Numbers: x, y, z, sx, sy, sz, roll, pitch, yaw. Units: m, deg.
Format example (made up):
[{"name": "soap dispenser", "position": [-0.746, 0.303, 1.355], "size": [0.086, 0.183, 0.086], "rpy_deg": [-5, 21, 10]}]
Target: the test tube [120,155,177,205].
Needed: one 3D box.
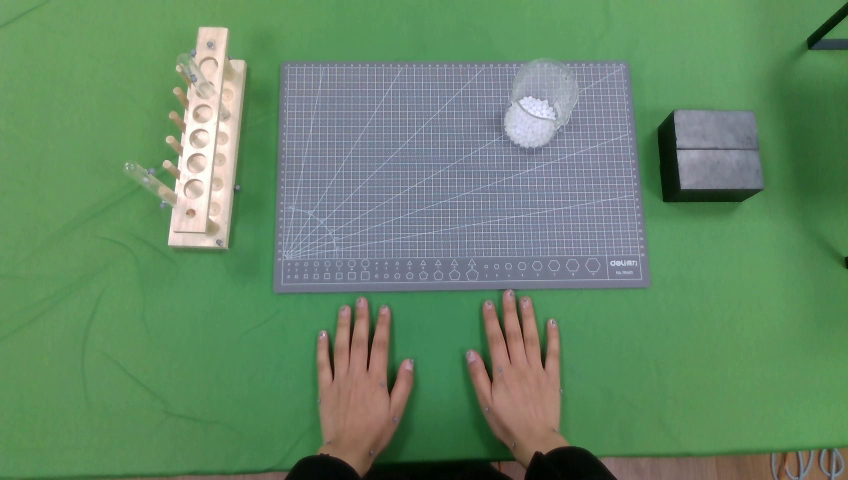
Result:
[{"name": "test tube", "position": [-0.285, -0.060, 0.647], "size": [0.017, 0.151, 0.017], "rpy_deg": [0, 78, -2]}]

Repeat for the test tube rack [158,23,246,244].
[{"name": "test tube rack", "position": [-0.263, -0.122, 0.708], "size": [0.067, 0.085, 0.241], "rpy_deg": [2, 77, -1]}]

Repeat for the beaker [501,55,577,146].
[{"name": "beaker", "position": [0.134, -0.158, 0.720], "size": [0.074, 0.100, 0.083], "rpy_deg": [-29, 80, -8]}]

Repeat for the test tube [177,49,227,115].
[{"name": "test tube", "position": [-0.242, -0.171, 0.669], "size": [0.017, 0.150, 0.017], "rpy_deg": [1, 81, -4]}]
